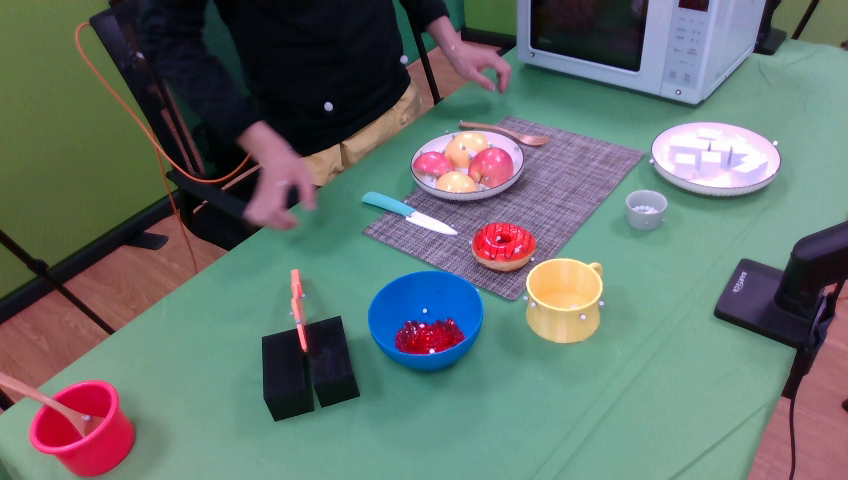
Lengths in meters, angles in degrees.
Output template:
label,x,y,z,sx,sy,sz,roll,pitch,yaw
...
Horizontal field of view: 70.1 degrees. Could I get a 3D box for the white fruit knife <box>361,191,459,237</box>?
label,x,y,z,sx,sy,sz,roll,pitch,yaw
white fruit knife,-0.025,-0.045,1.033,0.206,0.016,0.027,24,80,29

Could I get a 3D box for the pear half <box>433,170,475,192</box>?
label,x,y,z,sx,sy,sz,roll,pitch,yaw
pear half,0.052,-0.105,1.052,0.071,0.031,0.087,-5,33,-30

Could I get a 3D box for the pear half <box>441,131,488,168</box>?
label,x,y,z,sx,sy,sz,roll,pitch,yaw
pear half,0.064,-0.174,1.129,0.110,0.056,0.076,-7,36,5

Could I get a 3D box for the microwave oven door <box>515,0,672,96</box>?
label,x,y,z,sx,sy,sz,roll,pitch,yaw
microwave oven door,0.343,-0.454,1.259,0.353,0.245,0.039,26,51,33

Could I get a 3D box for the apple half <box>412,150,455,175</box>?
label,x,y,z,sx,sy,sz,roll,pitch,yaw
apple half,0.022,-0.144,1.097,0.081,0.033,0.081,7,22,-3

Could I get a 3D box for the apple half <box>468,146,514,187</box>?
label,x,y,z,sx,sy,sz,roll,pitch,yaw
apple half,0.119,-0.137,1.073,0.080,0.053,0.075,26,49,38

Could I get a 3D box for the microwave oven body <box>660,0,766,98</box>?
label,x,y,z,sx,sy,sz,roll,pitch,yaw
microwave oven body,0.472,-0.513,1.317,0.438,0.261,0.327,26,51,34

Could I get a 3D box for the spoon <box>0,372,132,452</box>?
label,x,y,z,sx,sy,sz,roll,pitch,yaw
spoon,-0.439,0.195,0.715,0.195,0.021,0.041,37,41,-16

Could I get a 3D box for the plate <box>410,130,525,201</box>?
label,x,y,z,sx,sy,sz,roll,pitch,yaw
plate,0.078,-0.133,1.101,0.209,0.038,0.208,-4,40,4

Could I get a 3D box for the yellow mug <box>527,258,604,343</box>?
label,x,y,z,sx,sy,sz,roll,pitch,yaw
yellow mug,0.201,0.073,0.825,0.131,0.064,0.099,-32,46,-27

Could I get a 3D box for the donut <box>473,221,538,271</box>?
label,x,y,z,sx,sy,sz,roll,pitch,yaw
donut,0.123,0.008,0.923,0.099,0.048,0.098,-3,38,3

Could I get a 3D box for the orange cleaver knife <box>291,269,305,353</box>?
label,x,y,z,sx,sy,sz,roll,pitch,yaw
orange cleaver knife,-0.175,0.094,0.844,0.012,0.077,0.210,-11,15,-10

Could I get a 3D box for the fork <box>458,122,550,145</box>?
label,x,y,z,sx,sy,sz,roll,pitch,yaw
fork,0.154,-0.215,1.204,0.206,0.019,0.028,20,57,29

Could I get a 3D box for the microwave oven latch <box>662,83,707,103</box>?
label,x,y,z,sx,sy,sz,roll,pitch,yaw
microwave oven latch,0.517,-0.296,1.204,0.078,0.029,0.030,27,52,35

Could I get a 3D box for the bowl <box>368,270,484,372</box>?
label,x,y,z,sx,sy,sz,roll,pitch,yaw
bowl,0.007,0.118,0.791,0.151,0.077,0.150,-5,40,4

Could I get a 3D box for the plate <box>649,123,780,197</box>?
label,x,y,z,sx,sy,sz,roll,pitch,yaw
plate,0.497,-0.135,1.046,0.207,0.039,0.206,-4,40,4

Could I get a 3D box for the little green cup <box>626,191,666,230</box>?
label,x,y,z,sx,sy,sz,roll,pitch,yaw
little green cup,0.352,-0.046,0.963,0.061,0.039,0.061,-4,40,4
